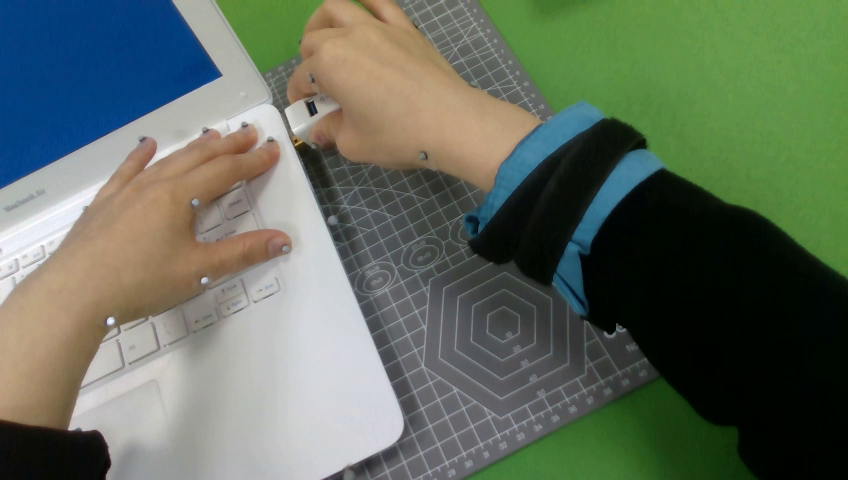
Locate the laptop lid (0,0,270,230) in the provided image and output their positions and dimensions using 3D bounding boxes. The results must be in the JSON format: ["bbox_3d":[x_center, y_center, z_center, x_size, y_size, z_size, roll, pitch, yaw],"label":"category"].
[{"bbox_3d":[-0.297,-0.096,0.333,0.357,0.244,0.013,-27,41,2],"label":"laptop lid"}]

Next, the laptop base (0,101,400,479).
[{"bbox_3d":[-0.211,0.080,0.366,0.354,0.023,0.233,-26,70,2],"label":"laptop base"}]

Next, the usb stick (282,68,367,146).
[{"bbox_3d":[-0.067,-0.078,0.375,0.059,0.027,0.021,-30,65,16],"label":"usb stick"}]
